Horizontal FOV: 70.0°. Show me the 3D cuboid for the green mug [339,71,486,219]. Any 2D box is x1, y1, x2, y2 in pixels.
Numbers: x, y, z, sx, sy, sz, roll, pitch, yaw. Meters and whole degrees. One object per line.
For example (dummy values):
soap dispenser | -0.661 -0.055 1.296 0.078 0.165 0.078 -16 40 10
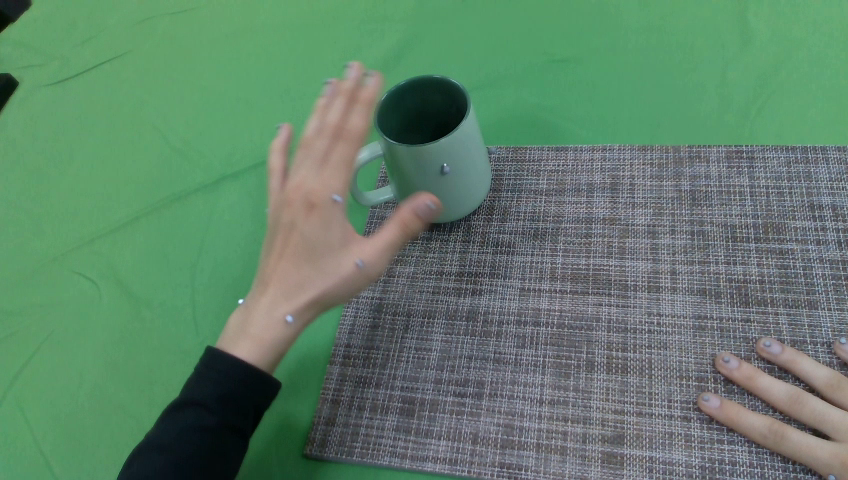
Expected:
green mug | -0.012 -0.071 0.517 0.125 0.106 0.091 -26 57 -4
